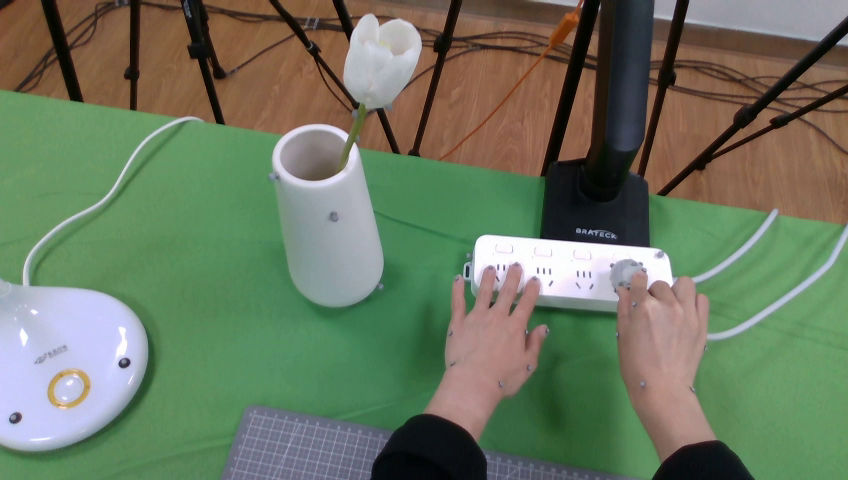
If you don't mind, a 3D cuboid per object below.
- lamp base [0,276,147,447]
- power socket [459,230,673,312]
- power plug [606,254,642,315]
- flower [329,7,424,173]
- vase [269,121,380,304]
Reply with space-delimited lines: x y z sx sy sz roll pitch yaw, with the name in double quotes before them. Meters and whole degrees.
"lamp base" -0.356 0.067 0.518 0.178 0.182 0.160 39 63 24
"power socket" 0.152 0.033 0.648 0.227 0.033 0.071 5 58 0
"power plug" 0.198 0.047 0.607 0.035 0.053 0.072 11 63 14
"flower" -0.074 -0.054 0.498 0.044 0.362 0.038 -27 79 -28
"vase" -0.094 -0.020 0.573 0.098 0.201 0.097 0 57 0
